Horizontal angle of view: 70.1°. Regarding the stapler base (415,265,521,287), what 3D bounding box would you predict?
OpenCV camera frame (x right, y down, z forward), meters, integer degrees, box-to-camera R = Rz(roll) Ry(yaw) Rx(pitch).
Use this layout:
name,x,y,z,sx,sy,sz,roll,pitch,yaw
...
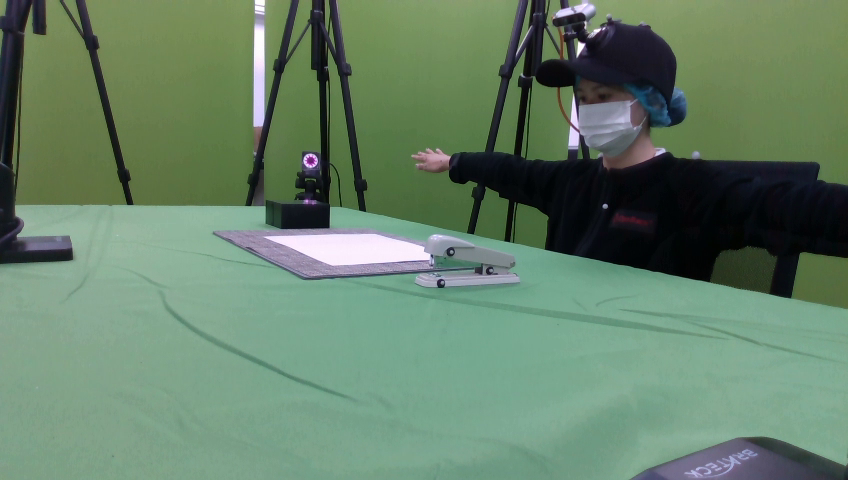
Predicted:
name,x,y,z,sx,sy,sz,roll,pitch,yaw
stapler base,0.053,0.039,0.716,0.131,0.024,0.041,1,9,-27

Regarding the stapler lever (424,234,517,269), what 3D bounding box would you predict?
name,x,y,z,sx,sy,sz,roll,pitch,yaw
stapler lever,0.056,0.014,0.714,0.119,0.040,0.026,1,9,-27
